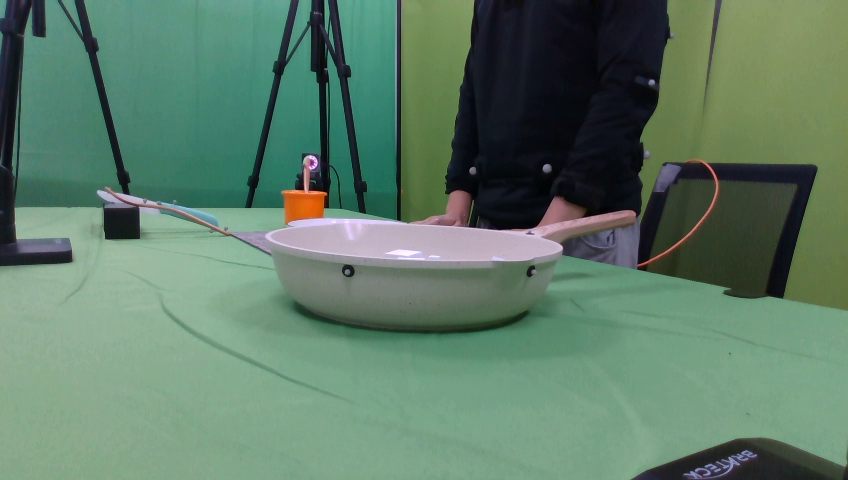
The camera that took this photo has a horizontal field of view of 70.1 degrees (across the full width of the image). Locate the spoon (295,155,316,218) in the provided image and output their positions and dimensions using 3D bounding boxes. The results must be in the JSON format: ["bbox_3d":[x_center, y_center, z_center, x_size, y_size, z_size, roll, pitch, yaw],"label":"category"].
[{"bbox_3d":[-0.247,-0.108,1.262,0.042,0.021,0.193,5,46,-16],"label":"spoon"}]

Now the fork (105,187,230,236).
[{"bbox_3d":[-0.428,-0.047,1.020,0.208,0.018,0.028,19,-8,-26],"label":"fork"}]

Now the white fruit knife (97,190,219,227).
[{"bbox_3d":[-0.468,-0.056,1.079,0.208,0.027,0.016,15,-2,-29],"label":"white fruit knife"}]

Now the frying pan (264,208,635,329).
[{"bbox_3d":[0.075,0.007,0.666,0.490,0.102,0.305,-12,15,-33],"label":"frying pan"}]

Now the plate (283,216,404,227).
[{"bbox_3d":[-0.119,-0.009,0.968,0.208,0.039,0.207,3,7,0],"label":"plate"}]
